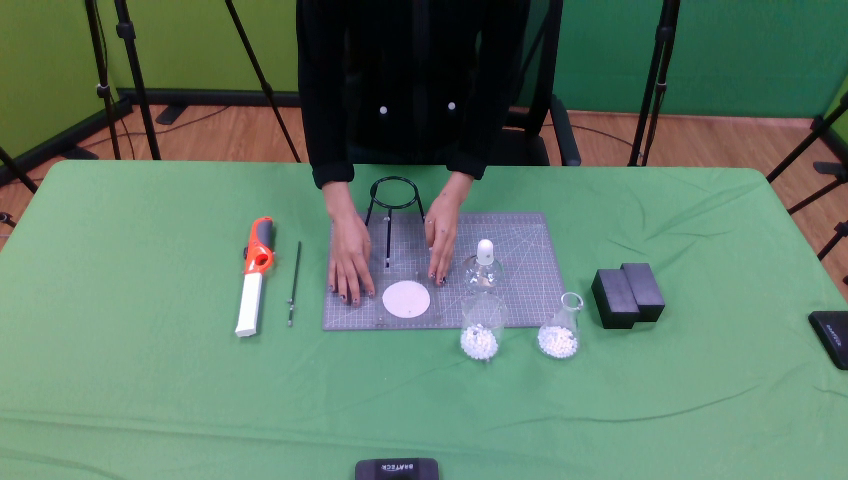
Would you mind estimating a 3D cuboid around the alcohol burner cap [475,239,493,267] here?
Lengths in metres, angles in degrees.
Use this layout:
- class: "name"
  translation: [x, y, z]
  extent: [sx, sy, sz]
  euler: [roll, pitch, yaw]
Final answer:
- class: "alcohol burner cap"
  translation: [0.107, 0.020, 1.071]
  extent: [0.034, 0.048, 0.033]
  euler: [-2, 45, 2]

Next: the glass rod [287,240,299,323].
- class: "glass rod"
  translation: [-0.242, 0.072, 1.119]
  extent: [0.008, 0.008, 0.198]
  euler: [-1, 47, -5]

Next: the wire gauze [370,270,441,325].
- class: "wire gauze"
  translation: [-0.035, 0.105, 1.103]
  extent: [0.125, 0.011, 0.120]
  euler: [-3, 46, -4]

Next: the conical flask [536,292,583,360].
- class: "conical flask"
  translation: [0.234, 0.139, 1.015]
  extent: [0.075, 0.122, 0.075]
  euler: [2, 46, -2]

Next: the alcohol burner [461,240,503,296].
- class: "alcohol burner"
  translation: [0.106, 0.045, 1.098]
  extent: [0.078, 0.120, 0.077]
  euler: [1, 44, -1]

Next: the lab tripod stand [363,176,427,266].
- class: "lab tripod stand"
  translation: [-0.058, -0.047, 1.159]
  extent: [0.148, 0.132, 0.147]
  euler: [3, 44, -2]

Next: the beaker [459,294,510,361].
- class: "beaker"
  translation: [0.094, 0.147, 1.012]
  extent: [0.083, 0.101, 0.074]
  euler: [26, 49, 21]

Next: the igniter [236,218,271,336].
- class: "igniter"
  translation: [-0.312, 0.058, 1.115]
  extent: [0.057, 0.025, 0.274]
  euler: [-9, 46, 2]
